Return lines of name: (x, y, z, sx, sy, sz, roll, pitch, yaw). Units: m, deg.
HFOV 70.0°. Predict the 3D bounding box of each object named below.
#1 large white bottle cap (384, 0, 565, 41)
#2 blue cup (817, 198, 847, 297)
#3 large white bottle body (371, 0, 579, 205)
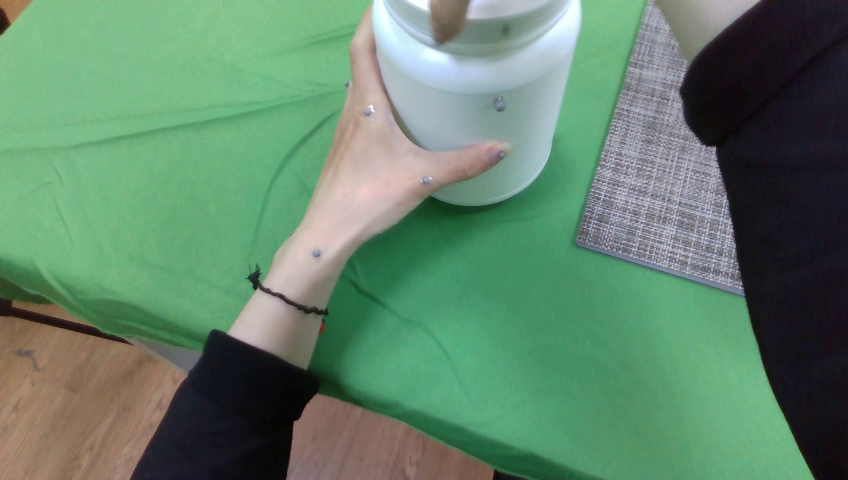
large white bottle cap: (0.029, -0.160, 0.343, 0.115, 0.018, 0.114, -1, 64, 3)
blue cup: (0.310, -0.005, 0.392, 0.092, 0.101, 0.092, -2, 62, 3)
large white bottle body: (0.033, -0.122, 0.419, 0.130, 0.186, 0.129, -1, 63, 2)
